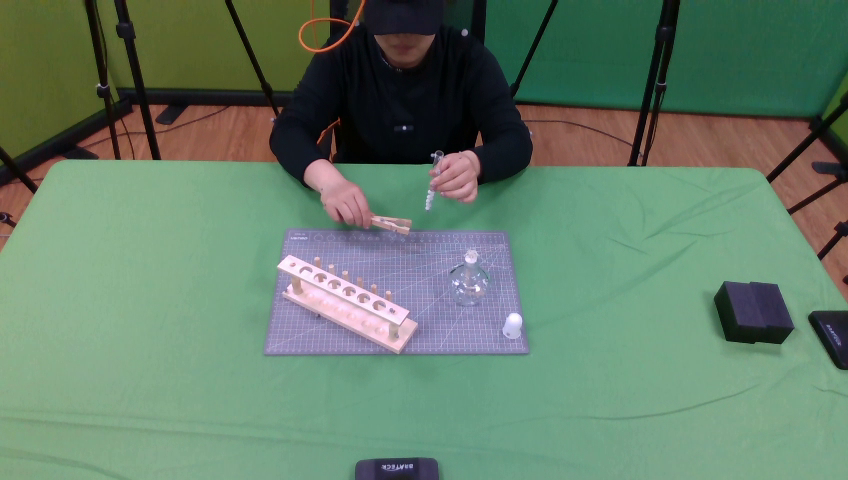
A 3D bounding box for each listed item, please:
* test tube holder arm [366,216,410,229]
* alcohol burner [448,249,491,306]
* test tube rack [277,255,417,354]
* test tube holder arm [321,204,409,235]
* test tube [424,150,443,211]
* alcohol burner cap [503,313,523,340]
[{"bbox_3d":[-0.071,-0.035,1.182,0.088,0.015,0.010,7,38,-5],"label":"test tube holder arm"},{"bbox_3d":[0.081,0.062,1.078,0.078,0.120,0.077,1,45,-1],"label":"alcohol burner"},{"bbox_3d":[-0.131,0.099,1.045,0.241,0.085,0.066,23,49,17],"label":"test tube rack"},{"bbox_3d":[-0.115,-0.041,1.179,0.178,0.015,0.013,15,37,6],"label":"test tube holder arm"},{"bbox_3d":[0.016,-0.105,1.108,0.017,0.151,0.017,5,51,-6],"label":"test tube"},{"bbox_3d":[0.156,0.148,1.051,0.034,0.048,0.033,1,45,-1],"label":"alcohol burner cap"}]
